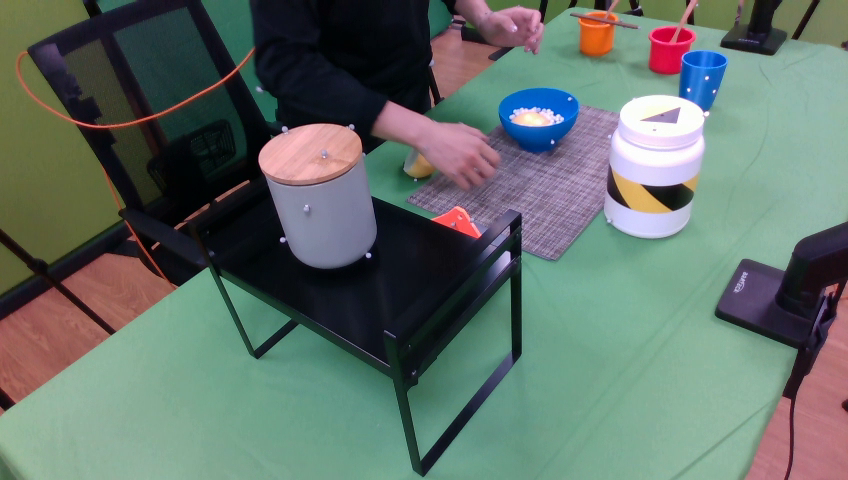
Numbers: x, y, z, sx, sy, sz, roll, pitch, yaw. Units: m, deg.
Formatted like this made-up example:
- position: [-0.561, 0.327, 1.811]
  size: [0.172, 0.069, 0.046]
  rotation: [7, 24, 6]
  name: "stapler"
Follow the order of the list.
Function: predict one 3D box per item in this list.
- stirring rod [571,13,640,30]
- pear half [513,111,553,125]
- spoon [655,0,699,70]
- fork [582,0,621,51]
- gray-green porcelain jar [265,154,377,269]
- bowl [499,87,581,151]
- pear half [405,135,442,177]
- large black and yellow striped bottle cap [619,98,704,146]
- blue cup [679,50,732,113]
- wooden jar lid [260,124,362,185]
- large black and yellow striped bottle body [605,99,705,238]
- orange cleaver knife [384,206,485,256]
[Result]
- position: [0.419, -0.508, 1.404]
  size: [0.174, 0.006, 0.014]
  rotation: [28, 55, 35]
  name: "stirring rod"
- position: [0.212, -0.227, 1.152]
  size: [0.088, 0.031, 0.070]
  rotation: [7, 44, 11]
  name: "pear half"
- position: [0.567, -0.463, 1.337]
  size: [0.041, 0.022, 0.193]
  rotation: [30, 97, 38]
  name: "spoon"
- position: [0.446, -0.538, 1.438]
  size: [0.207, 0.019, 0.028]
  rotation: [-57, 36, 12]
  name: "fork"
- position: [-0.112, -0.039, 0.685]
  size: [0.106, 0.127, 0.105]
  rotation: [-4, 40, 4]
  name: "gray-green porcelain jar"
- position: [0.220, -0.223, 1.155]
  size: [0.151, 0.077, 0.150]
  rotation: [-4, 40, 4]
  name: "bowl"
- position: [-0.004, -0.151, 1.136]
  size: [0.076, 0.056, 0.109]
  rotation: [-62, 23, -8]
  name: "pear half"
- position: [0.341, -0.172, 0.873]
  size: [0.115, 0.019, 0.114]
  rotation: [-4, 39, 4]
  name: "large black and yellow striped bottle cap"
- position: [0.545, -0.309, 1.193]
  size: [0.092, 0.100, 0.092]
  rotation: [-4, 39, 3]
  name: "blue cup"
- position: [-0.119, -0.088, 0.645]
  size: [0.108, 0.021, 0.108]
  rotation: [-4, 40, 3]
  name: "wooden jar lid"
- position: [0.352, -0.110, 0.928]
  size: [0.131, 0.185, 0.130]
  rotation: [-5, 41, 5]
  name: "large black and yellow striped bottle body"
- position: [0.012, -0.009, 0.942]
  size: [0.012, 0.077, 0.210]
  rotation: [-37, 19, -36]
  name: "orange cleaver knife"
